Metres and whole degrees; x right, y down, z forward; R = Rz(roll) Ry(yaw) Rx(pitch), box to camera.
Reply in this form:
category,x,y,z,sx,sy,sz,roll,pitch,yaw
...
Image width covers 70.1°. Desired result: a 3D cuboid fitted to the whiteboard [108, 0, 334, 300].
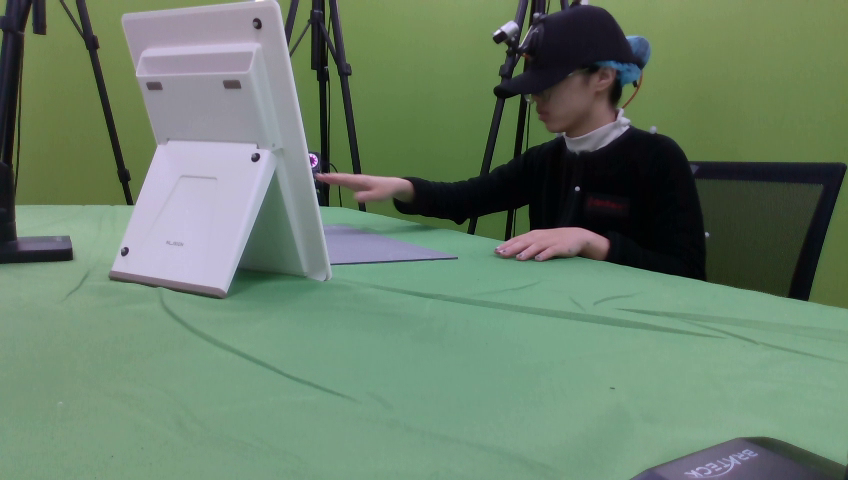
category,x,y,z,sx,sy,sz,roll,pitch,yaw
whiteboard,-0.248,-0.072,0.624,0.216,0.305,0.144,6,28,26

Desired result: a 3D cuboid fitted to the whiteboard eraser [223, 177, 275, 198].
category,x,y,z,sx,sy,sz,roll,pitch,yaw
whiteboard eraser,-0.377,-0.113,1.308,0.055,0.042,0.113,7,11,20
